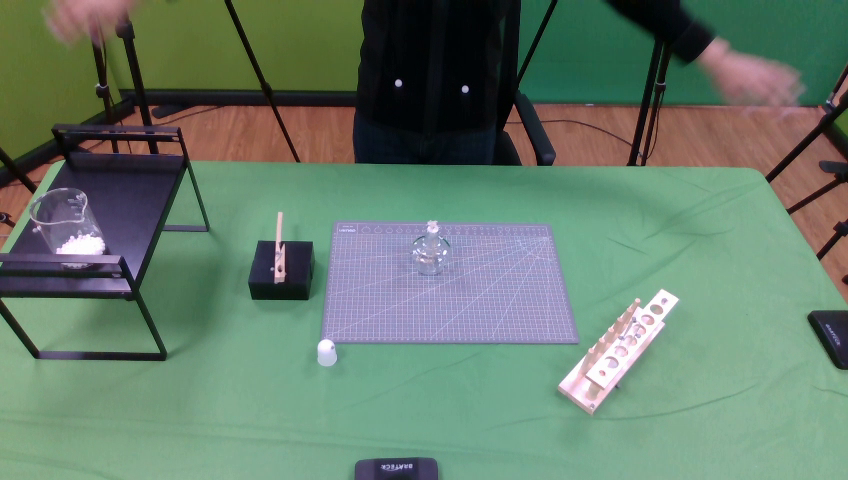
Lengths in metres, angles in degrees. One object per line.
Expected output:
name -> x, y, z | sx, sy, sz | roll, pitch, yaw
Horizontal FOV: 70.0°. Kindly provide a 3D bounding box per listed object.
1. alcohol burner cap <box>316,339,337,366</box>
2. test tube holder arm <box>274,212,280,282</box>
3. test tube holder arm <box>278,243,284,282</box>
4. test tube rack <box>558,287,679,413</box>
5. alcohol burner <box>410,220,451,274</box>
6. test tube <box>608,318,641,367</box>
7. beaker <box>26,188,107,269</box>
alcohol burner cap -> -0.161, 0.182, 0.995 | 0.034, 0.048, 0.033 | 2, 47, -2
test tube holder arm -> -0.267, 0.008, 1.103 | 0.013, 0.015, 0.177 | 7, 40, -21
test tube holder arm -> -0.253, 0.039, 1.072 | 0.010, 0.015, 0.087 | 8, 39, -20
test tube rack -> 0.326, 0.170, 1.009 | 0.066, 0.085, 0.242 | 36, 54, 26
alcohol burner -> 0.013, 0.007, 1.120 | 0.078, 0.120, 0.077 | 1, 48, -1
test tube -> 0.308, 0.169, 0.941 | 0.017, 0.151, 0.017 | 1, 49, -1
beaker -> -0.504, -0.013, 0.868 | 0.084, 0.101, 0.074 | 23, 49, 17
